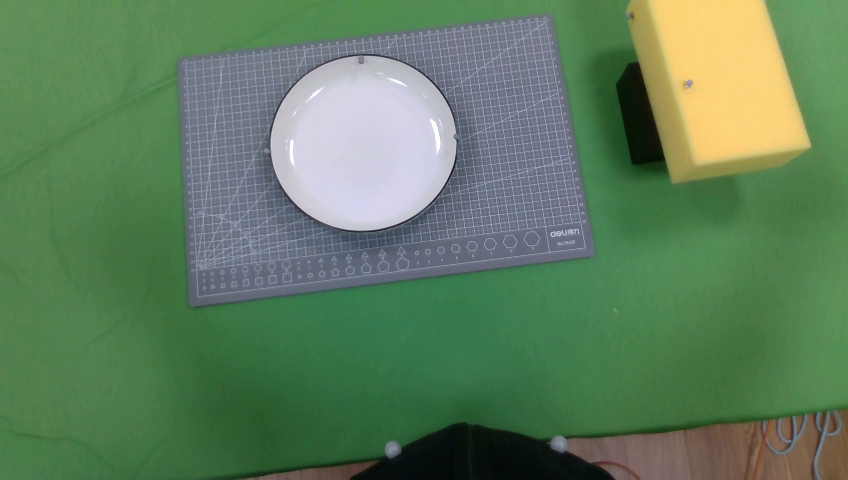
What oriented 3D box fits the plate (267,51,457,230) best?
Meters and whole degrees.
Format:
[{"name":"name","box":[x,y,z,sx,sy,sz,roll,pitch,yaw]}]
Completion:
[{"name":"plate","box":[-0.067,-0.109,0.679,0.209,0.038,0.208,0,79,0]}]

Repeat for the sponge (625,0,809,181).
[{"name":"sponge","box":[0.298,-0.175,0.630,0.118,0.061,0.206,-11,79,-2]}]
